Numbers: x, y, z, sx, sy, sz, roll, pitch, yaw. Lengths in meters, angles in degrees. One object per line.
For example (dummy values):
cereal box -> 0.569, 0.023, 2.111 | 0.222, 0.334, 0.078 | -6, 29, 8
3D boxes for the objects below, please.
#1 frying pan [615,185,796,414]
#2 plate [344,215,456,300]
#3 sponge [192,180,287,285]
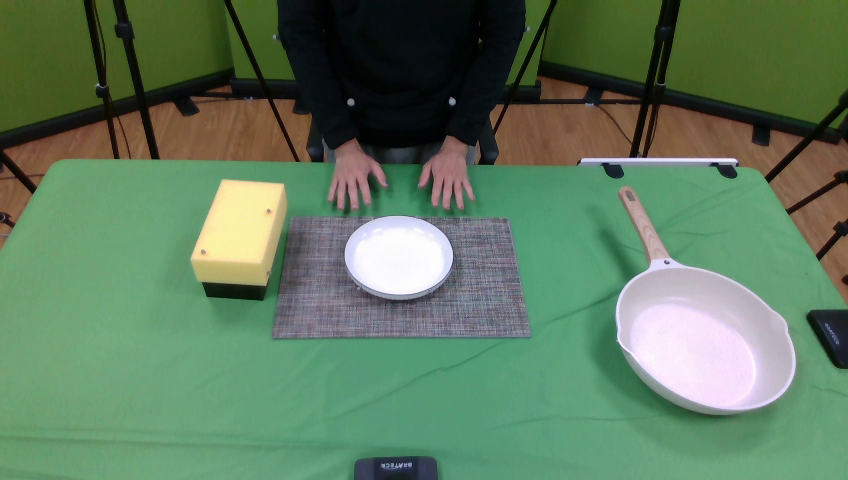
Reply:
frying pan -> 0.449, 0.087, 1.092 | 0.307, 0.103, 0.484 | -4, 55, -10
plate -> -0.045, 0.036, 1.146 | 0.208, 0.039, 0.206 | 2, 46, -2
sponge -> -0.327, -0.018, 1.096 | 0.118, 0.061, 0.205 | 3, 46, -1
